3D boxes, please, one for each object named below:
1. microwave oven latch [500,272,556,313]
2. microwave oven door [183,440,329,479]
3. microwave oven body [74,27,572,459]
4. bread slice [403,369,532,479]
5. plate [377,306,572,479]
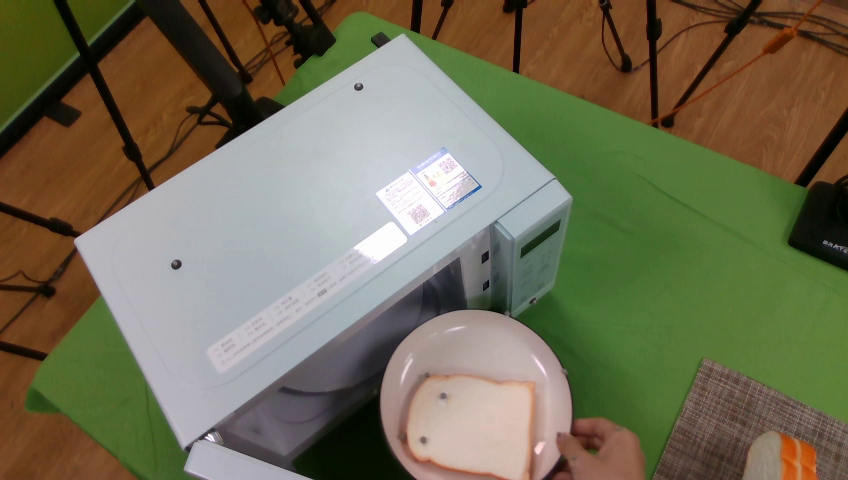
[{"bbox_3d":[0.137,0.061,0.796,0.079,0.030,0.030,-34,65,-10],"label":"microwave oven latch"},{"bbox_3d":[-0.028,0.277,0.592,0.354,0.246,0.039,14,66,13],"label":"microwave oven door"},{"bbox_3d":[-0.103,0.018,0.735,0.441,0.262,0.323,-36,66,-11],"label":"microwave oven body"},{"bbox_3d":[0.046,0.194,0.649,0.134,0.018,0.106,5,60,5],"label":"bread slice"},{"bbox_3d":[0.054,0.174,0.660,0.208,0.039,0.206,0,61,1],"label":"plate"}]
